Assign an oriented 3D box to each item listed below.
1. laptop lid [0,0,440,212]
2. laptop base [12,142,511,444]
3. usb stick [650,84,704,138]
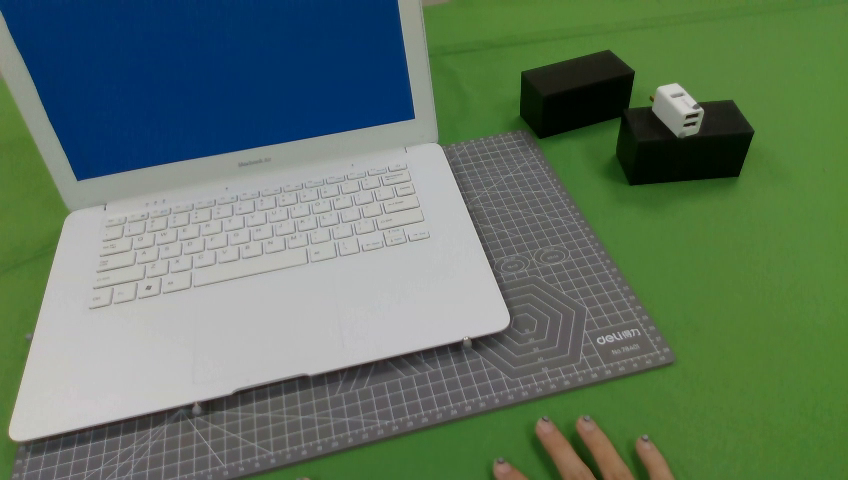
[{"bbox_3d":[-0.170,-0.157,0.523,0.357,0.244,0.013,-13,31,-6],"label":"laptop lid"},{"bbox_3d":[-0.129,0.024,0.502,0.355,0.023,0.233,-12,49,-6],"label":"laptop base"},{"bbox_3d":[0.218,-0.117,0.531,0.021,0.027,0.058,-14,43,-5],"label":"usb stick"}]
